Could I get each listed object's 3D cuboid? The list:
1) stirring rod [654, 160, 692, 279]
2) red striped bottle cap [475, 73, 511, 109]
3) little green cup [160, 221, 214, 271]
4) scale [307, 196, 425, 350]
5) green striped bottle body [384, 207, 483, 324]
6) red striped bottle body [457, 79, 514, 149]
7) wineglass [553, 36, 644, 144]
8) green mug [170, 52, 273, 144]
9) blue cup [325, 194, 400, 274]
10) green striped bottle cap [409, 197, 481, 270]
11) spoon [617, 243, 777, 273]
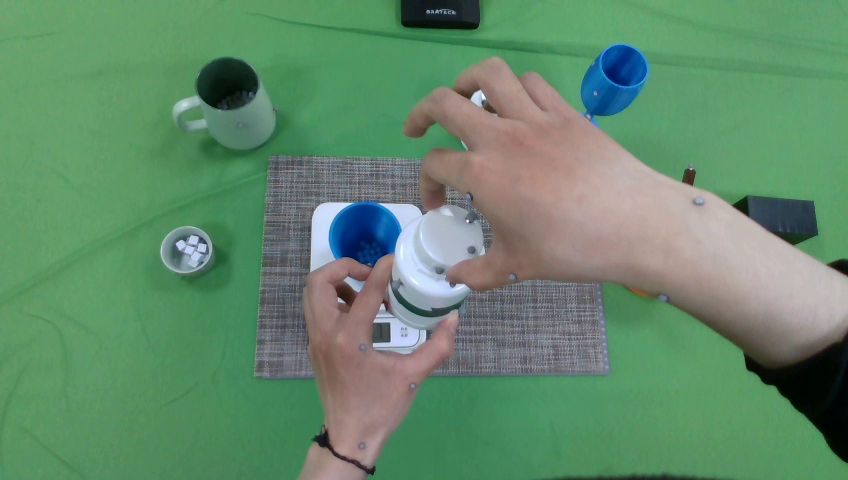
[{"bbox_3d":[0.323,-0.022,0.789,0.014,0.177,0.006,5,33,9],"label":"stirring rod"},{"bbox_3d":[0.088,-0.190,0.771,0.044,0.018,0.044,2,71,-5],"label":"red striped bottle cap"},{"bbox_3d":[-0.299,0.010,0.771,0.062,0.039,0.061,2,73,-7],"label":"little green cup"},{"bbox_3d":[-0.075,0.040,0.787,0.149,0.031,0.199,0,75,-6],"label":"scale"},{"bbox_3d":[0.005,0.017,0.442,0.063,0.120,0.062,3,68,-7],"label":"green striped bottle body"},{"bbox_3d":[0.083,-0.175,0.822,0.063,0.120,0.062,2,74,-6],"label":"red striped bottle body"},{"bbox_3d":[0.230,-0.196,0.815,0.074,0.173,0.073,1,73,-5],"label":"wineglass"},{"bbox_3d":[-0.267,-0.179,0.794,0.125,0.105,0.092,-21,77,-11],"label":"green mug"},{"bbox_3d":[-0.075,0.001,0.729,0.093,0.100,0.092,2,76,-7],"label":"blue cup"},{"bbox_3d":[0.014,-0.004,0.386,0.044,0.020,0.044,7,67,-17],"label":"green striped bottle cap"},{"bbox_3d":[0.343,0.028,0.777,0.022,0.192,0.041,24,76,-44],"label":"spoon"}]
